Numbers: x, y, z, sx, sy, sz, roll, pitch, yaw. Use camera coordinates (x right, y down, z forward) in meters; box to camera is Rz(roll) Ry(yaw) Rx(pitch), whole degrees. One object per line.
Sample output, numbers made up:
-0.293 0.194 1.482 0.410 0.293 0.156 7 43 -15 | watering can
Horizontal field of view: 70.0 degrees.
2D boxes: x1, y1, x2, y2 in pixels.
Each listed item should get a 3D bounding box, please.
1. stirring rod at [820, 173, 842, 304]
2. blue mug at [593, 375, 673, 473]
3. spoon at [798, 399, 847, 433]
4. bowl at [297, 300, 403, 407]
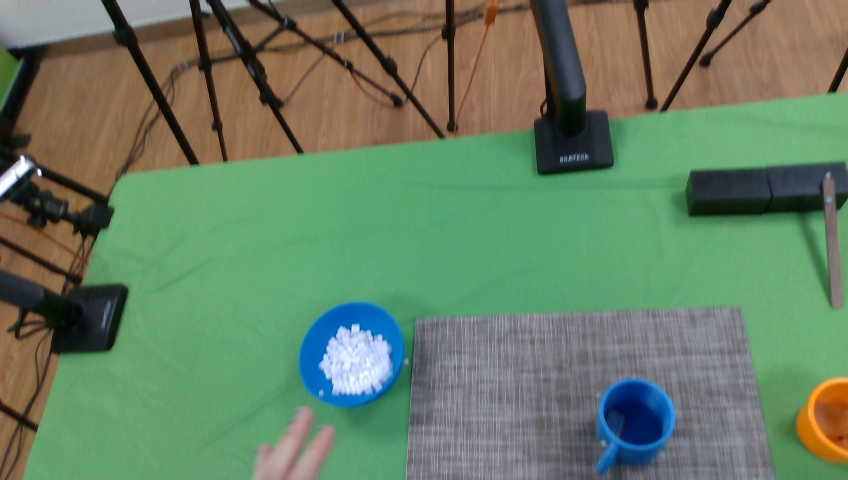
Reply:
0.540 -0.003 0.804 0.014 0.006 0.175 -1 81 10 | stirring rod
0.239 0.229 0.725 0.081 0.107 0.116 34 75 27 | blue mug
0.508 0.197 0.655 0.022 0.193 0.041 34 67 -19 | spoon
-0.095 0.170 0.859 0.151 0.077 0.150 -6 61 11 | bowl
